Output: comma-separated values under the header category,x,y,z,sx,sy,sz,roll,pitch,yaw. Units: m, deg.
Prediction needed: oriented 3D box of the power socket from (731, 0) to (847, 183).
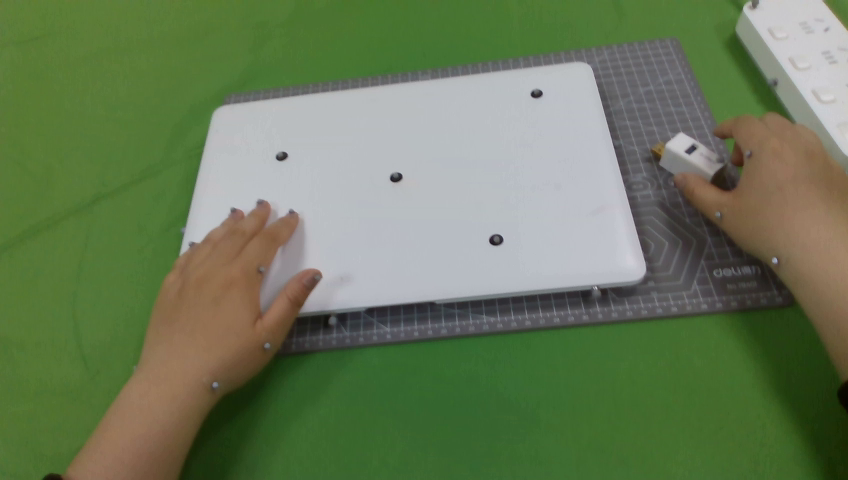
category,x,y,z,sx,sy,sz,roll,pitch,yaw
power socket,0.333,-0.136,0.509,0.072,0.033,0.224,-8,54,2

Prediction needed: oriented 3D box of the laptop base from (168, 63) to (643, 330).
category,x,y,z,sx,sy,sz,roll,pitch,yaw
laptop base,-0.022,-0.043,0.506,0.354,0.023,0.233,-6,58,4

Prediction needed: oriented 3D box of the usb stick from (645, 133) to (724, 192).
category,x,y,z,sx,sy,sz,roll,pitch,yaw
usb stick,0.203,-0.065,0.479,0.021,0.027,0.058,-33,51,-22

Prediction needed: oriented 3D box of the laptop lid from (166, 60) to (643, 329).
category,x,y,z,sx,sy,sz,roll,pitch,yaw
laptop lid,-0.024,-0.048,0.496,0.356,0.013,0.239,-5,56,6
